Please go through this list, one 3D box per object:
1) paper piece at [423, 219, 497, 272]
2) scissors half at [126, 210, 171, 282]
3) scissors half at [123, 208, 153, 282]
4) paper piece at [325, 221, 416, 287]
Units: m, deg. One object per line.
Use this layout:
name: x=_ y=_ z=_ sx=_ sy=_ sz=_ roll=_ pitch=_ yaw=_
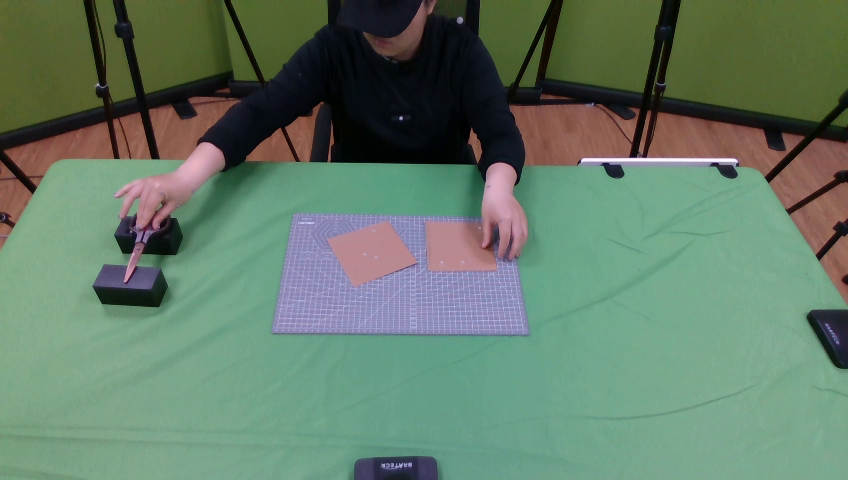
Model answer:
paper piece: x=0.069 y=0.010 z=1.199 sx=0.138 sy=0.009 sz=0.135 roll=1 pitch=50 yaw=-5
scissors half: x=-0.499 y=0.009 z=1.089 sx=0.040 sy=0.013 sz=0.174 roll=10 pitch=47 yaw=0
scissors half: x=-0.518 y=0.007 z=1.086 sx=0.040 sy=0.013 sz=0.174 roll=2 pitch=47 yaw=-14
paper piece: x=-0.105 y=0.022 z=1.174 sx=0.135 sy=0.004 sz=0.135 roll=-19 pitch=50 yaw=-21
